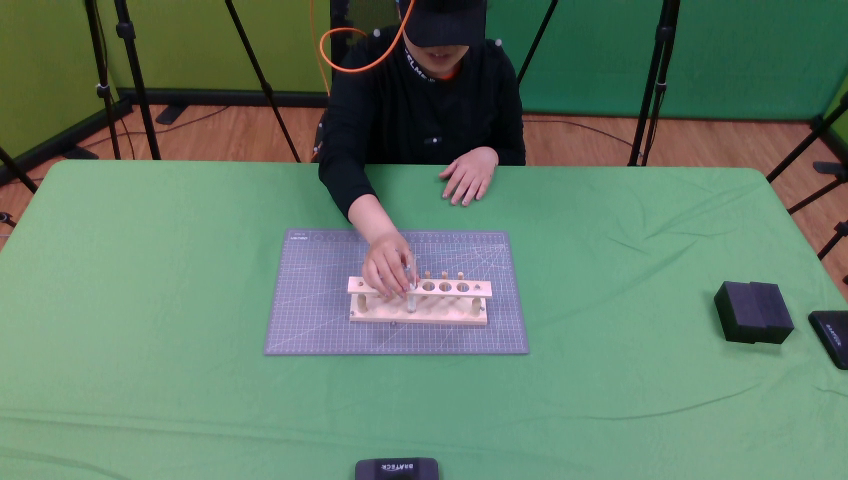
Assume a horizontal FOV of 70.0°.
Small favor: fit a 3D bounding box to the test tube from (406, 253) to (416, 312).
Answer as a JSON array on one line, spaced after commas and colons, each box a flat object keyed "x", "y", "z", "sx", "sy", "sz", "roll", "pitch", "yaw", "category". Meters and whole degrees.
[{"x": -0.022, "y": 0.074, "z": 1.009, "sx": 0.017, "sy": 0.151, "sz": 0.017, "roll": 1, "pitch": 50, "yaw": -1, "category": "test tube"}]

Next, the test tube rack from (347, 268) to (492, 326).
[{"x": -0.009, "y": 0.095, "z": 1.059, "sx": 0.242, "sy": 0.085, "sz": 0.066, "roll": 2, "pitch": 46, "yaw": -2, "category": "test tube rack"}]
